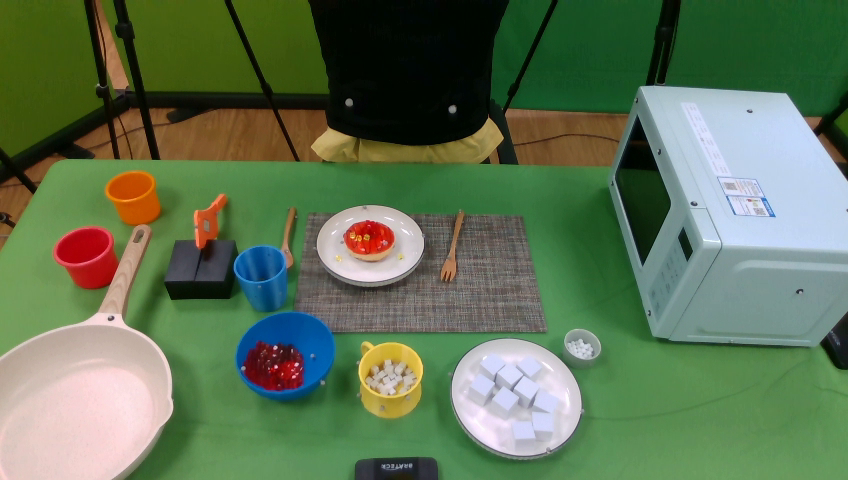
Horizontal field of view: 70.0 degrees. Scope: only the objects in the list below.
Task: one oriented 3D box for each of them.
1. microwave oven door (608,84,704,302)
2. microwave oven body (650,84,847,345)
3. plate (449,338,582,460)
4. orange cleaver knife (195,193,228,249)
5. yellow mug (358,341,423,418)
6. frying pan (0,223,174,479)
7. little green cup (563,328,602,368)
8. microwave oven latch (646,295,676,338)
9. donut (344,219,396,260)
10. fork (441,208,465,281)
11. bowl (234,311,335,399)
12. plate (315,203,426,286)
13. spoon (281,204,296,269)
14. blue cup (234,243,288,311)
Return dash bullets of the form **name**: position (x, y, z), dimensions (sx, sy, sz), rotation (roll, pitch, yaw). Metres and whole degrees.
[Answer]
- **microwave oven door**: position (0.424, -0.096, 1.138), dimensions (0.039, 0.245, 0.353), rotation (2, 46, -1)
- **microwave oven body**: position (0.569, -0.054, 1.116), dimensions (0.326, 0.261, 0.439), rotation (2, 46, -1)
- **plate**: position (0.141, 0.251, 0.955), dimensions (0.208, 0.039, 0.206), rotation (2, 46, -2)
- **orange cleaver knife**: position (-0.406, -0.041, 1.163), dimensions (0.012, 0.077, 0.210), rotation (-1, 18, -3)
- **yellow mug**: position (-0.063, 0.210, 0.961), dimensions (0.100, 0.064, 0.130), rotation (-29, 54, -28)
- **frying pan**: position (-0.505, 0.169, 0.941), dimensions (0.307, 0.103, 0.485), rotation (5, 54, -1)
- **little green cup**: position (0.266, 0.185, 1.025), dimensions (0.061, 0.039, 0.061), rotation (1, 45, -1)
- **microwave oven latch**: position (0.413, 0.133, 1.060), dimensions (0.030, 0.029, 0.078), rotation (4, 46, 1)
- **donut**: position (-0.103, -0.002, 1.158), dimensions (0.099, 0.048, 0.098), rotation (2, 43, -2)
- **fork**: position (0.061, 0.005, 1.190), dimensions (0.028, 0.019, 0.206), rotation (3, 47, 13)
- **bowl**: position (-0.214, 0.194, 0.956), dimensions (0.151, 0.077, 0.150), rotation (2, 46, -2)
- **plate**: position (-0.101, 0.012, 1.159), dimensions (0.209, 0.038, 0.208), rotation (2, 46, -2)
- **spoon**: position (-0.266, -0.008, 1.182), dimensions (0.041, 0.022, 0.192), rotation (-13, 46, 11)
- **blue cup**: position (-0.276, 0.072, 1.052), dimensions (0.093, 0.101, 0.092), rotation (1, 48, -1)
